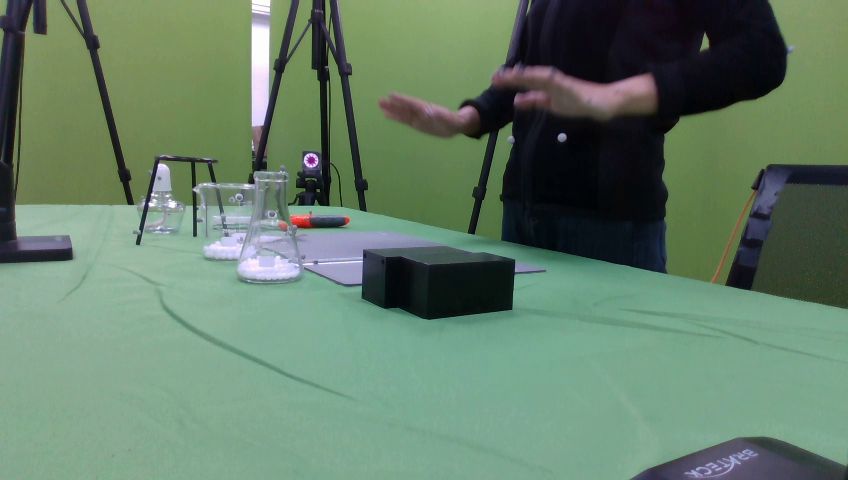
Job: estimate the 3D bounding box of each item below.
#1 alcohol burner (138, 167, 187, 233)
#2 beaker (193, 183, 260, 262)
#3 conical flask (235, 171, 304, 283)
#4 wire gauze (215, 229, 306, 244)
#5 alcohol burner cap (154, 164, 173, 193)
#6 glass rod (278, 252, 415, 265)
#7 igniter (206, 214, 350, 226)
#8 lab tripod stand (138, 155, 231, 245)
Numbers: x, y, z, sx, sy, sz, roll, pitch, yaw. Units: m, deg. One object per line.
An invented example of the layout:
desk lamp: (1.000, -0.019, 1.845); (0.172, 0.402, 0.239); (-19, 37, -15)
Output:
alcohol burner: (-0.450, -0.070, 1.044); (0.078, 0.119, 0.078); (5, 7, 0)
beaker: (-0.262, -0.025, 0.806); (0.084, 0.100, 0.073); (-3, 9, -30)
conical flask: (-0.172, -0.016, 0.677); (0.075, 0.122, 0.075); (2, 7, 0)
wire gauze: (-0.273, -0.009, 1.013); (0.122, 0.011, 0.124); (-2, 9, -33)
alcohol burner cap: (-0.450, -0.106, 1.038); (0.034, 0.048, 0.034); (3, 13, 0)
glass rod: (-0.097, 0.024, 0.805); (0.201, 0.008, 0.008); (-3, 8, -33)
igniter: (-0.279, -0.038, 1.185); (0.278, 0.025, 0.057); (-2, -1, -30)
lab tripod stand: (-0.358, -0.062, 0.927); (0.148, 0.131, 0.148); (4, 6, 0)
